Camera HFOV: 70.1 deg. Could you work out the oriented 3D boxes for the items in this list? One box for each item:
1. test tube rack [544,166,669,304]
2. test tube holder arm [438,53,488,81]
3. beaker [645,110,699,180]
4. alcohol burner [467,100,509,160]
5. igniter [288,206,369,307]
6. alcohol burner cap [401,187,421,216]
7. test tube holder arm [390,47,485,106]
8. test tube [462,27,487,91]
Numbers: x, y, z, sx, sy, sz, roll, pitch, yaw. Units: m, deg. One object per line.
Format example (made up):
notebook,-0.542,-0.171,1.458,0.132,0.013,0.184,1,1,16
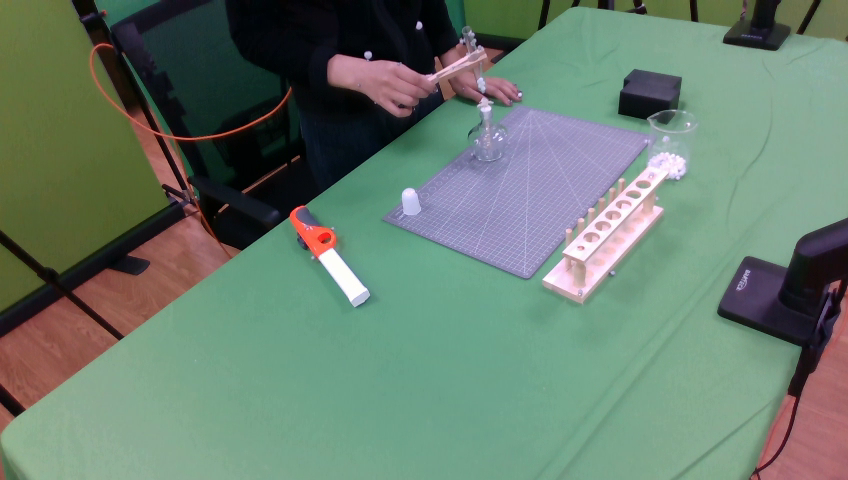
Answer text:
test tube rack,0.274,-0.018,0.903,0.066,0.085,0.243,26,51,35
test tube holder arm,0.065,-0.289,1.012,0.087,0.015,0.010,-20,64,11
beaker,0.417,-0.160,1.032,0.083,0.101,0.074,25,51,34
alcohol burner,0.118,-0.210,1.130,0.078,0.119,0.077,-5,42,5
igniter,-0.163,0.017,0.986,0.057,0.025,0.274,-33,45,-12
alcohol burner cap,-0.025,-0.070,1.048,0.034,0.048,0.033,-5,41,5
test tube holder arm,0.023,-0.275,1.022,0.178,0.015,0.013,-27,62,8
test tube,0.086,-0.300,1.015,0.017,0.151,0.017,-6,65,14
